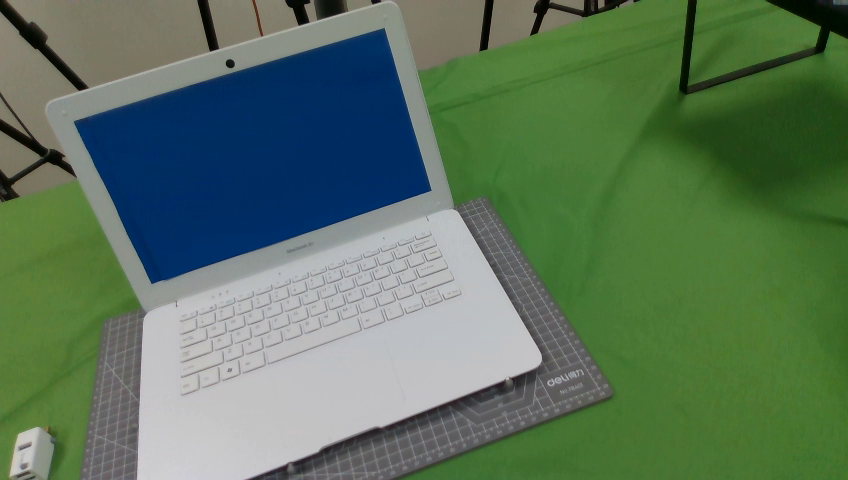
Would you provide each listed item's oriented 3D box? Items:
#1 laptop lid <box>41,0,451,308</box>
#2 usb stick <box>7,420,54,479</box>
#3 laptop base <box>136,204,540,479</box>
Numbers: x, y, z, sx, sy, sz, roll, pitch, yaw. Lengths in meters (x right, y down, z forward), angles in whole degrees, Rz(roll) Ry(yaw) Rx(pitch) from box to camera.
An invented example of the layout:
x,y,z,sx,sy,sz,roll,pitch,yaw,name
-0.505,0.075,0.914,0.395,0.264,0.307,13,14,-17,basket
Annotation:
x,y,z,sx,sy,sz,roll,pitch,yaw,name
-0.163,-0.085,0.625,0.357,0.243,0.013,-21,21,-6,laptop lid
-0.349,0.183,0.541,0.021,0.027,0.058,-22,40,-3,usb stick
-0.096,0.091,0.582,0.354,0.023,0.232,-19,45,-7,laptop base
